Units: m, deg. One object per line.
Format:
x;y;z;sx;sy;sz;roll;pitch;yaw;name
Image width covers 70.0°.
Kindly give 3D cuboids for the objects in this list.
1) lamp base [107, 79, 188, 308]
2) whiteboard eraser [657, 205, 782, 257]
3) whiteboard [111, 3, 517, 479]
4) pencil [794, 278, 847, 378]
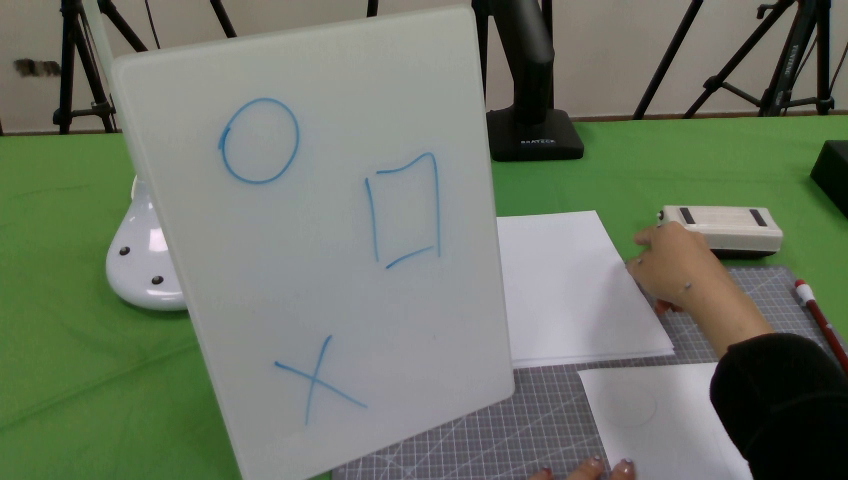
-0.248;-0.053;0.578;0.177;0.182;0.160;25;45;31;lamp base
0.309;-0.009;0.640;0.112;0.042;0.055;2;40;2;whiteboard eraser
-0.069;-0.002;0.463;0.218;0.307;0.142;-16;23;-18;whiteboard
0.362;0.103;0.523;0.012;0.012;0.192;2;42;2;pencil
